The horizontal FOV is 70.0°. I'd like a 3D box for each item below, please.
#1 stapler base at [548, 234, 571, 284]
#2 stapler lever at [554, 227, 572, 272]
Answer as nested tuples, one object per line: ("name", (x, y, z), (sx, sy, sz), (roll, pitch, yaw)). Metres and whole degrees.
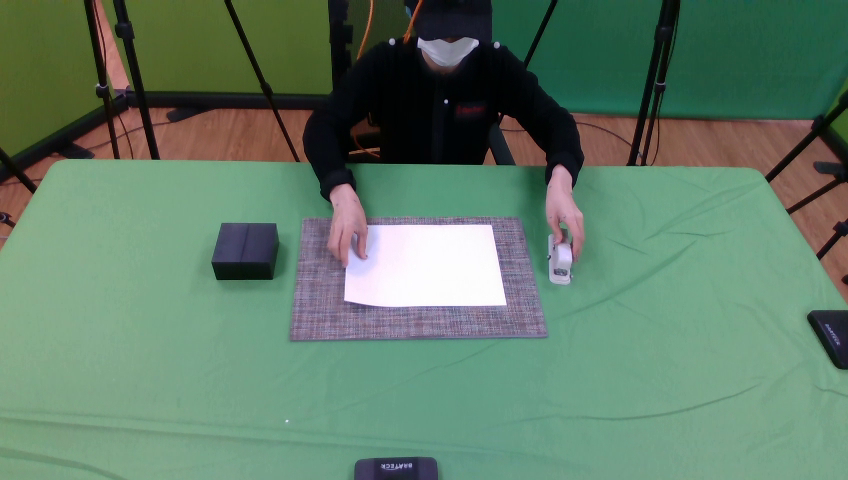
("stapler base", (0.267, 0.030, 1.188), (0.041, 0.024, 0.130), (8, 44, 2))
("stapler lever", (0.268, 0.012, 1.172), (0.027, 0.040, 0.117), (8, 45, 2))
